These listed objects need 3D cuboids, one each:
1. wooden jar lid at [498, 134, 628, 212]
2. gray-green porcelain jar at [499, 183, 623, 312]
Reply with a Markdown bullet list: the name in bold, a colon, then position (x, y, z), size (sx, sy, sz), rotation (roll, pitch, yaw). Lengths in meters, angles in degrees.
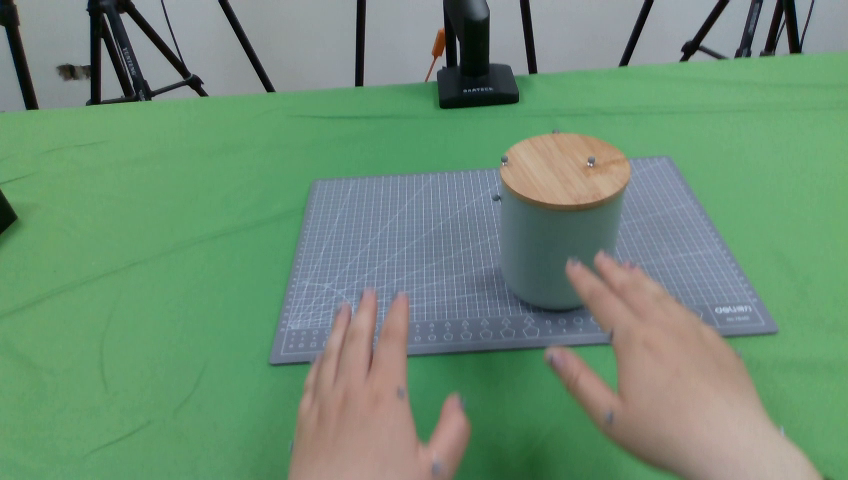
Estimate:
- **wooden jar lid**: position (0.117, -0.054, 0.517), size (0.108, 0.021, 0.107), rotation (-4, 40, 4)
- **gray-green porcelain jar**: position (0.121, -0.006, 0.556), size (0.106, 0.127, 0.105), rotation (-3, 39, 3)
